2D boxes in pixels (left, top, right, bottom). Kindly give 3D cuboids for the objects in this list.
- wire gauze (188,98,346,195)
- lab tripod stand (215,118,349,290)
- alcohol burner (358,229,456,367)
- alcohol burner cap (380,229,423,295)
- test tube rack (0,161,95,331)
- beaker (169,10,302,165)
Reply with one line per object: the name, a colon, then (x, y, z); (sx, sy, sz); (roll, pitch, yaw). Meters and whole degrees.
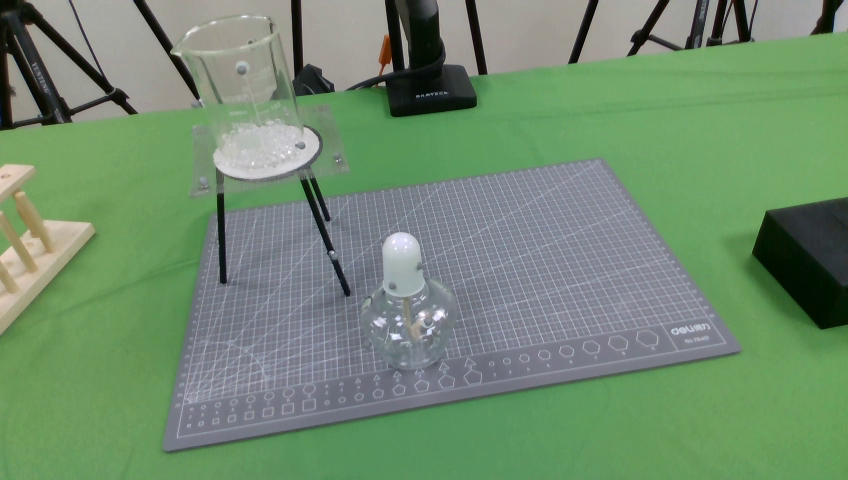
wire gauze: (-0.134, -0.080, 0.507); (0.125, 0.011, 0.120); (-14, 39, -7)
lab tripod stand: (-0.130, -0.030, 0.550); (0.148, 0.133, 0.147); (-3, 42, 3)
alcohol burner: (-0.015, 0.041, 0.468); (0.078, 0.120, 0.077); (-3, 38, 3)
alcohol burner cap: (-0.018, 0.014, 0.445); (0.034, 0.048, 0.033); (-1, 37, 1)
test tube rack: (-0.414, 0.031, 0.548); (0.066, 0.086, 0.240); (4, 41, 10)
beaker: (-0.142, -0.116, 0.475); (0.084, 0.101, 0.073); (-13, 40, -8)
